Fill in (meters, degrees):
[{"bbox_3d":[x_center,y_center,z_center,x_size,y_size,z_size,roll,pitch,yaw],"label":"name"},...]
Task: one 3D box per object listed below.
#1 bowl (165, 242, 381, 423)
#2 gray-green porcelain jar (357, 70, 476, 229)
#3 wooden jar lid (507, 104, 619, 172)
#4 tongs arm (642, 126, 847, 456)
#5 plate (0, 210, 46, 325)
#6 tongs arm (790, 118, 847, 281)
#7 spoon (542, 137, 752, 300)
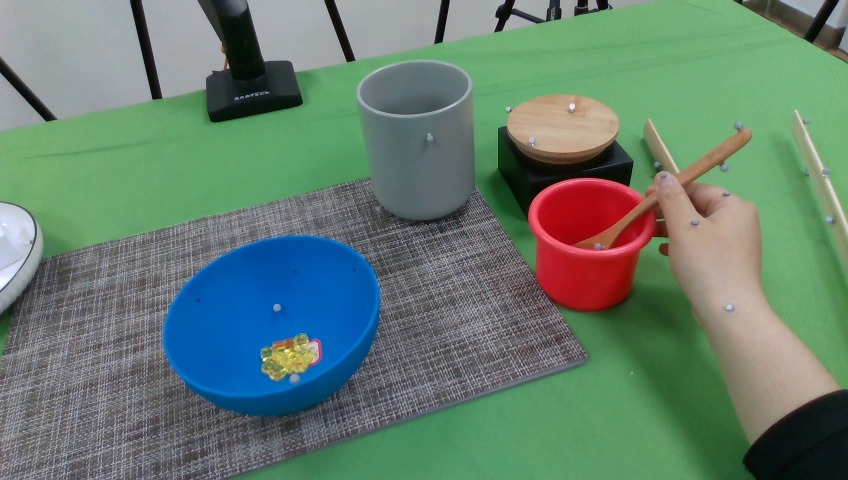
[{"bbox_3d":[-0.102,0.080,0.449,0.151,0.077,0.150,-3,41,3],"label":"bowl"},{"bbox_3d":[-0.003,-0.083,0.585,0.106,0.128,0.105,-3,42,3],"label":"gray-green porcelain jar"},{"bbox_3d":[0.137,-0.101,0.601,0.108,0.021,0.107,-4,41,4],"label":"wooden jar lid"},{"bbox_3d":[0.259,0.009,0.532,0.028,0.028,0.383,-3,41,-1],"label":"tongs arm"},{"bbox_3d":[-0.454,0.050,0.557,0.209,0.038,0.207,-4,42,4],"label":"plate"},{"bbox_3d":[0.341,0.006,0.520,0.050,0.027,0.381,3,43,11],"label":"tongs arm"},{"bbox_3d":[0.172,-0.014,0.479,0.022,0.194,0.041,27,32,-34],"label":"spoon"}]
